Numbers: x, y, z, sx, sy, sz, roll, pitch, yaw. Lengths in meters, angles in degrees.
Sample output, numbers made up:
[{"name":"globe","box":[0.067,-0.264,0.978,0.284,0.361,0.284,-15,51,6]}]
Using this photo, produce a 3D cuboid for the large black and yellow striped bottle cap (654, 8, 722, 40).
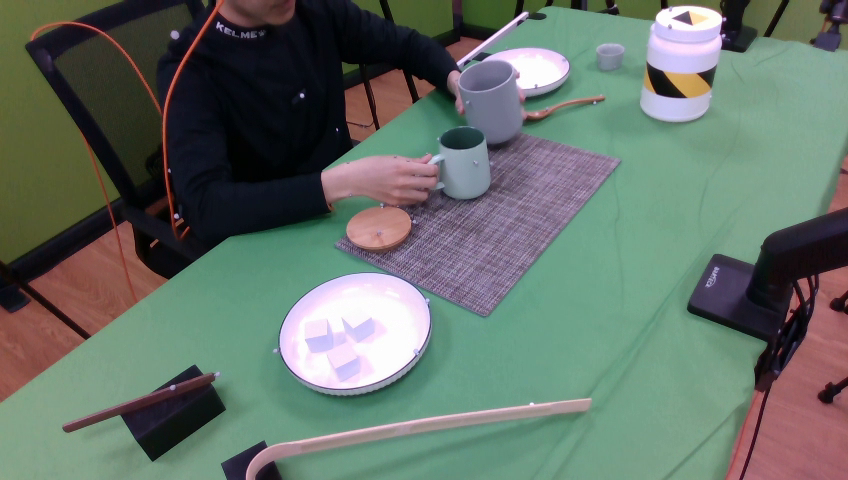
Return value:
[{"name":"large black and yellow striped bottle cap","box":[0.483,-0.397,1.108,0.115,0.019,0.114,-3,41,3]}]

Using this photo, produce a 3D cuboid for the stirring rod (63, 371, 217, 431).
[{"name":"stirring rod","box":[-0.337,0.192,0.723,0.177,0.014,0.005,-18,43,-12]}]

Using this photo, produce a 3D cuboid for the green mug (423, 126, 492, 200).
[{"name":"green mug","box":[0.056,-0.125,1.039,0.126,0.105,0.091,-25,44,-19]}]

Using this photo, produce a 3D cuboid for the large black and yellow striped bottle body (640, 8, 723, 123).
[{"name":"large black and yellow striped bottle body","box":[0.493,-0.334,1.161,0.131,0.185,0.130,-4,41,4]}]

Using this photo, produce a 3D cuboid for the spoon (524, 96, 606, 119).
[{"name":"spoon","box":[0.291,-0.277,1.249,0.194,0.022,0.041,-17,24,-11]}]

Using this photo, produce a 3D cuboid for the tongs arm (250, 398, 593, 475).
[{"name":"tongs arm","box":[0.008,0.212,0.675,0.389,0.028,0.028,-5,46,-11]}]

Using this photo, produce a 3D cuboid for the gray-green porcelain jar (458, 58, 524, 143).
[{"name":"gray-green porcelain jar","box":[0.128,-0.254,1.124,0.105,0.127,0.105,-10,45,11]}]

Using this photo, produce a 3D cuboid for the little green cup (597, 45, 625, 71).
[{"name":"little green cup","box":[0.423,-0.413,1.375,0.061,0.039,0.061,-3,41,3]}]

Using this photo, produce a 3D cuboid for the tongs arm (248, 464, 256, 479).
[{"name":"tongs arm","box":[0.012,0.262,0.615,0.385,0.026,0.050,3,42,-2]}]

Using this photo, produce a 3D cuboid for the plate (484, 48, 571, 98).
[{"name":"plate","box":[0.223,-0.371,1.357,0.209,0.038,0.208,-4,41,4]}]

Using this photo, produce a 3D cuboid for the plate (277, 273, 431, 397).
[{"name":"plate","box":[-0.091,0.129,0.821,0.207,0.039,0.206,-4,40,4]}]

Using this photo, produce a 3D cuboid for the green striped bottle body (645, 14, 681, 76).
[{"name":"green striped bottle body","box":[0.520,-0.424,1.312,0.063,0.120,0.063,-4,41,4]}]

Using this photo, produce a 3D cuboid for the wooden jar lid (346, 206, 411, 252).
[{"name":"wooden jar lid","box":[-0.074,-0.017,0.996,0.108,0.021,0.108,-3,39,3]}]

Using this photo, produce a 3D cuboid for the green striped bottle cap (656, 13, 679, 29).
[{"name":"green striped bottle cap","box":[0.515,-0.463,1.278,0.044,0.020,0.044,-6,42,6]}]
